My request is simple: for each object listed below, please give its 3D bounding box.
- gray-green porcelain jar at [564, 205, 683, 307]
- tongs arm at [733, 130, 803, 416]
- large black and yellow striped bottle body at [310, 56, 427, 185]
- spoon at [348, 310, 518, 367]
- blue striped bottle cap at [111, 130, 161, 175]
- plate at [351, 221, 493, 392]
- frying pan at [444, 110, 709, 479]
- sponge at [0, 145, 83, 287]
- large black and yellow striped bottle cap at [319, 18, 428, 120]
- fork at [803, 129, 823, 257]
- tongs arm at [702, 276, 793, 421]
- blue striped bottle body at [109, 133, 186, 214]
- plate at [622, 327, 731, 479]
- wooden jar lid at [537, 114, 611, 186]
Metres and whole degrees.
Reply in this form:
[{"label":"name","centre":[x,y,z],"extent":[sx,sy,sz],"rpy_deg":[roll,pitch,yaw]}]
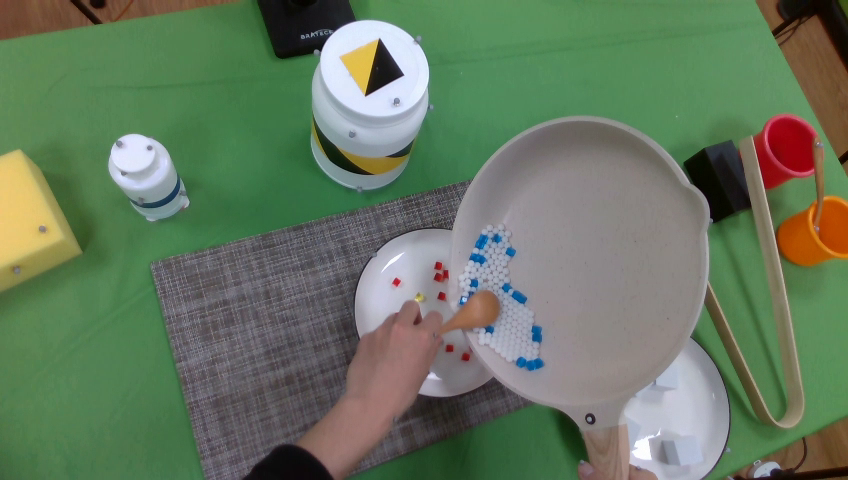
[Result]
[{"label":"gray-green porcelain jar","centre":[0.242,0.025,0.760],"extent":[0.106,0.127,0.105],"rpy_deg":[3,73,-10]},{"label":"tongs arm","centre":[0.464,0.041,0.822],"extent":[0.028,0.027,0.386],"rpy_deg":[-7,85,-22]},{"label":"large black and yellow striped bottle body","centre":[-0.069,-0.157,0.718],"extent":[0.131,0.184,0.130],"rpy_deg":[3,73,-10]},{"label":"spoon","centre":[0.012,0.106,0.657],"extent":[0.194,0.041,0.022],"rpy_deg":[-11,103,-13]},{"label":"blue striped bottle cap","centre":[-0.299,-0.091,0.628],"extent":[0.045,0.021,0.044],"rpy_deg":[3,71,-8]},{"label":"plate","centre":[0.014,0.080,0.739],"extent":[0.210,0.038,0.208],"rpy_deg":[3,74,-11]},{"label":"frying pan","centre":[0.160,0.113,0.593],"extent":[0.103,0.306,0.484],"rpy_deg":[15,62,-42]},{"label":"sponge","centre":[-0.501,0.001,0.646],"extent":[0.207,0.061,0.118],"rpy_deg":[-31,82,-19]},{"label":"large black and yellow striped bottle cap","centre":[-0.053,-0.181,0.637],"extent":[0.115,0.019,0.114],"rpy_deg":[3,72,-10]},{"label":"fork","centre":[0.537,-0.060,0.834],"extent":[0.028,0.018,0.209],"rpy_deg":[-30,126,-10]},{"label":"tongs arm","centre":[0.386,0.064,0.797],"extent":[0.051,0.026,0.384],"rpy_deg":[-22,89,-19]},{"label":"blue striped bottle body","centre":[-0.309,-0.077,0.677],"extent":[0.063,0.121,0.062],"rpy_deg":[3,73,-11]},{"label":"plate","centre":[0.284,0.196,0.767],"extent":[0.208,0.039,0.206],"rpy_deg":[3,73,-10]},{"label":"wooden jar lid","centre":[0.209,-0.125,0.853],"extent":[0.109,0.021,0.108],"rpy_deg":[3,75,-11]}]
